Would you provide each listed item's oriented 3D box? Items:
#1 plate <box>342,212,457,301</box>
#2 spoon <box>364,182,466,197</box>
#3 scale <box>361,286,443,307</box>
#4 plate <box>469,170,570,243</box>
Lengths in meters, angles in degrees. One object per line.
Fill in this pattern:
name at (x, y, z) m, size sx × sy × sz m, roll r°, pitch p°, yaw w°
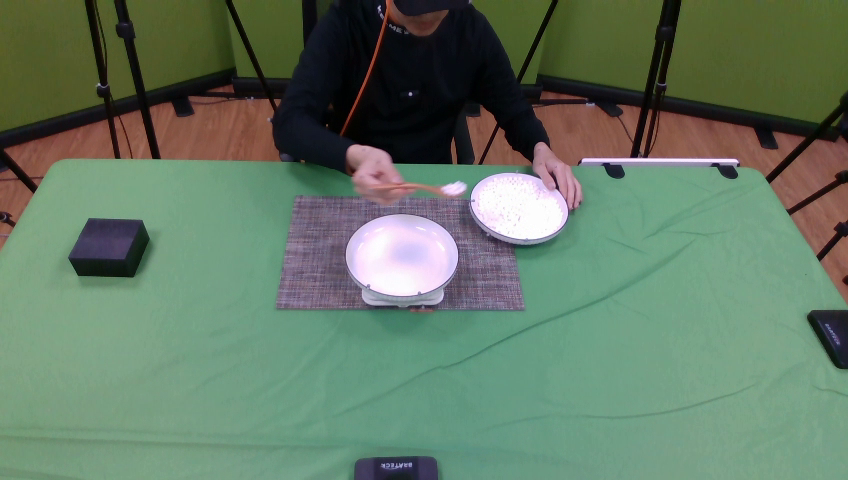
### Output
plate at (-0.044, 0.033, 1.105) m, size 0.208 × 0.039 × 0.206 m, roll 2°, pitch 46°, yaw -2°
spoon at (-0.014, -0.092, 1.057) m, size 0.194 × 0.022 × 0.041 m, roll 2°, pitch 35°, yaw -28°
scale at (-0.042, 0.040, 1.143) m, size 0.149 × 0.032 × 0.199 m, roll 0°, pitch 46°, yaw -4°
plate at (0.196, -0.066, 1.258) m, size 0.209 × 0.038 × 0.208 m, roll 3°, pitch 46°, yaw -3°
